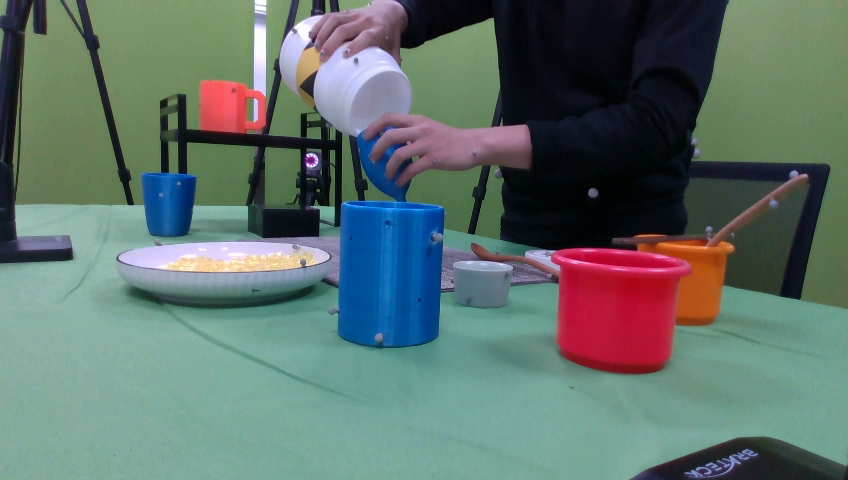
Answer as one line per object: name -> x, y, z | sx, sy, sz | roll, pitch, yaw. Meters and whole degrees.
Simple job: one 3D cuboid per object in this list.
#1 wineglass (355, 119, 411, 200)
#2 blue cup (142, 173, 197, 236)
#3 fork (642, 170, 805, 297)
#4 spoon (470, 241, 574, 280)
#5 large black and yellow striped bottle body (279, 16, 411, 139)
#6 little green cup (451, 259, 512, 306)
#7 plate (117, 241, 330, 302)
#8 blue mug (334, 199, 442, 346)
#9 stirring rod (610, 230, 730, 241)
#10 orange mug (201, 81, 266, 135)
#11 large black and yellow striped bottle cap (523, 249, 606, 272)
wineglass -> -0.040, -0.077, 0.842 | 0.074, 0.172, 0.074 | -19, -11, -4
blue cup -> -0.425, -0.060, 1.014 | 0.093, 0.100, 0.092 | 4, 9, 0
fork -> 0.261, 0.004, 0.545 | 0.028, 0.018, 0.207 | 5, -37, -16
spoon -> 0.124, 0.025, 0.800 | 0.042, 0.021, 0.192 | 23, -6, -34
large black and yellow striped bottle body -> -0.116, -0.238, 0.895 | 0.131, 0.130, 0.183 | -5, 38, -45
little green cup -> 0.057, 0.043, 0.611 | 0.061, 0.038, 0.061 | 3, 8, 0
plate -> -0.203, 0.031, 0.630 | 0.209, 0.038, 0.209 | 3, 7, 0
blue mug -> -0.034, 0.020, 0.498 | 0.083, 0.106, 0.116 | 0, 7, -19
stirring rod -> 0.241, -0.005, 0.582 | 0.177, 0.006, 0.014 | -3, 10, -34
orange mug -> -0.377, -0.260, 1.198 | 0.126, 0.101, 0.083 | -3, 8, -6
large black and yellow striped bottle cap -> 0.198, 0.028, 0.851 | 0.115, 0.019, 0.115 | 5, 5, 0
